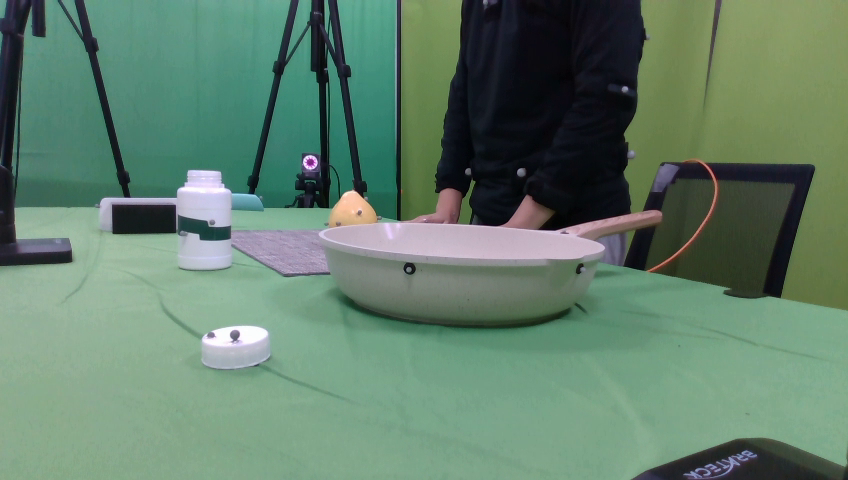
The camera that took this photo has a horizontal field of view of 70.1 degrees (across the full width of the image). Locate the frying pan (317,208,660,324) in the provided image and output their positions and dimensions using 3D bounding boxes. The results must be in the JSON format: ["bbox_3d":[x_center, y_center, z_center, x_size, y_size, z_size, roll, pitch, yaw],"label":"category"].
[{"bbox_3d":[0.121,0.006,0.691,0.490,0.102,0.305,-13,15,-33],"label":"frying pan"}]

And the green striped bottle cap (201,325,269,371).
[{"bbox_3d":[-0.129,0.073,0.415,0.044,0.020,0.044,3,8,0],"label":"green striped bottle cap"}]

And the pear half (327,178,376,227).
[{"bbox_3d":[-0.110,-0.042,0.942,0.077,0.110,0.055,-6,11,-25],"label":"pear half"}]

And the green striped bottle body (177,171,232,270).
[{"bbox_3d":[-0.273,-0.026,0.753,0.063,0.119,0.063,2,7,0],"label":"green striped bottle body"}]

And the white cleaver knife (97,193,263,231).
[{"bbox_3d":[-0.444,-0.053,1.121,0.288,0.066,0.021,-4,16,-27],"label":"white cleaver knife"}]

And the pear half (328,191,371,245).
[{"bbox_3d":[-0.124,-0.037,0.976,0.071,0.088,0.031,-6,11,-25],"label":"pear half"}]
